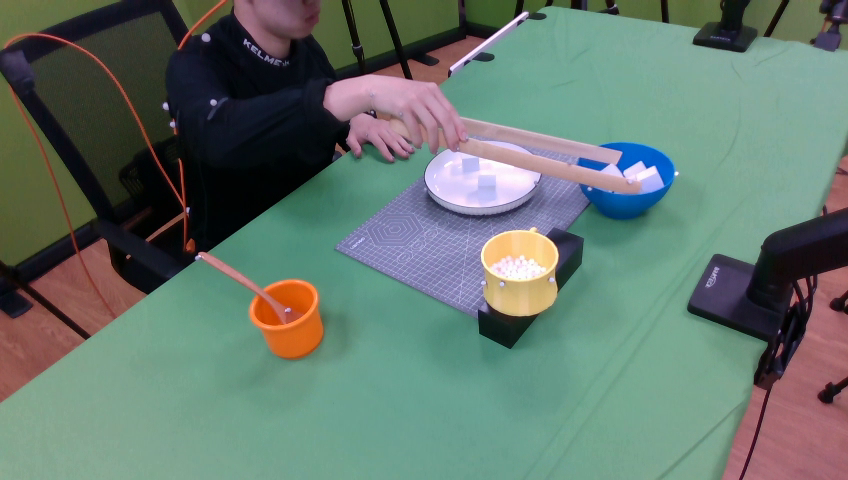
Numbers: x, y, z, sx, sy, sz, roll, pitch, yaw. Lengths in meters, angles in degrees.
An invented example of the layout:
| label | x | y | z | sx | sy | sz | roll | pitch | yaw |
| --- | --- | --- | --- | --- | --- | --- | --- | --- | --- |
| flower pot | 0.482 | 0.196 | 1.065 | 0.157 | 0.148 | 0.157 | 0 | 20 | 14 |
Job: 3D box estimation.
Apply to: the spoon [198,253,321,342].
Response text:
| label | x | y | z | sx | sy | sz | roll | pitch | yaw |
| --- | --- | --- | --- | --- | --- | --- | --- | --- | --- |
| spoon | -0.220 | 0.075 | 0.814 | 0.021 | 0.194 | 0.041 | -37 | 18 | 39 |

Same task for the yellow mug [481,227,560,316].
| label | x | y | z | sx | sy | sz | roll | pitch | yaw |
| --- | --- | --- | --- | --- | --- | --- | --- | --- | --- |
| yellow mug | 0.131 | 0.032 | 0.801 | 0.099 | 0.064 | 0.131 | 11 | 43 | 20 |

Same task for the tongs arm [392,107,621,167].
| label | x | y | z | sx | sy | sz | roll | pitch | yaw |
| --- | --- | --- | --- | --- | --- | --- | --- | --- | --- |
| tongs arm | 0.134 | -0.158 | 0.944 | 0.389 | 0.028 | 0.028 | 9 | 37 | -15 |

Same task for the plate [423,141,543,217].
| label | x | y | z | sx | sy | sz | roll | pitch | yaw |
| --- | --- | --- | --- | --- | --- | --- | --- | --- | --- |
| plate | 0.103 | -0.104 | 1.059 | 0.207 | 0.039 | 0.206 | -4 | 40 | 4 |

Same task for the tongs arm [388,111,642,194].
| label | x | y | z | sx | sy | sz | roll | pitch | yaw |
| --- | --- | --- | --- | --- | --- | --- | --- | --- | --- |
| tongs arm | 0.136 | -0.126 | 0.895 | 0.386 | 0.026 | 0.050 | 12 | 33 | -9 |

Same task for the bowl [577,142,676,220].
| label | x | y | z | sx | sy | sz | roll | pitch | yaw |
| --- | --- | --- | --- | --- | --- | --- | --- | --- | --- |
| bowl | 0.322 | -0.086 | 0.980 | 0.151 | 0.077 | 0.150 | -4 | 40 | 4 |
